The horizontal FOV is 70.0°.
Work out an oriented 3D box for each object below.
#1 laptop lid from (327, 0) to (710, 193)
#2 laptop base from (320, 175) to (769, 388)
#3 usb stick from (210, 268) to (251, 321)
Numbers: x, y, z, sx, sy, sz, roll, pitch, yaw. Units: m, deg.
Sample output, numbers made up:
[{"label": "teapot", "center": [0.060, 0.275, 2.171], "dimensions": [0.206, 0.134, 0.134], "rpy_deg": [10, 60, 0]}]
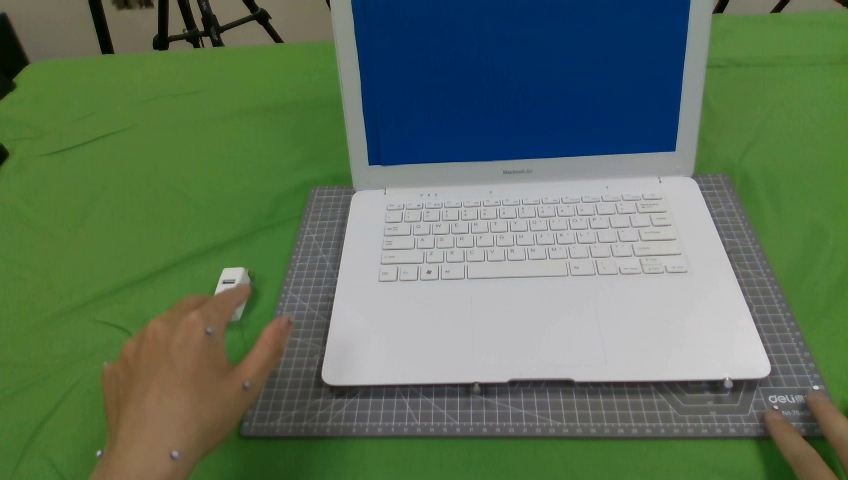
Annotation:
[{"label": "laptop lid", "center": [0.089, -0.160, 0.588], "dimensions": [0.356, 0.243, 0.013], "rpy_deg": [-4, 24, 4]}, {"label": "laptop base", "center": [0.094, 0.030, 0.555], "dimensions": [0.354, 0.023, 0.233], "rpy_deg": [-2, 48, 4]}, {"label": "usb stick", "center": [-0.178, 0.045, 0.565], "dimensions": [0.021, 0.027, 0.058], "rpy_deg": [-4, 42, 9]}]
